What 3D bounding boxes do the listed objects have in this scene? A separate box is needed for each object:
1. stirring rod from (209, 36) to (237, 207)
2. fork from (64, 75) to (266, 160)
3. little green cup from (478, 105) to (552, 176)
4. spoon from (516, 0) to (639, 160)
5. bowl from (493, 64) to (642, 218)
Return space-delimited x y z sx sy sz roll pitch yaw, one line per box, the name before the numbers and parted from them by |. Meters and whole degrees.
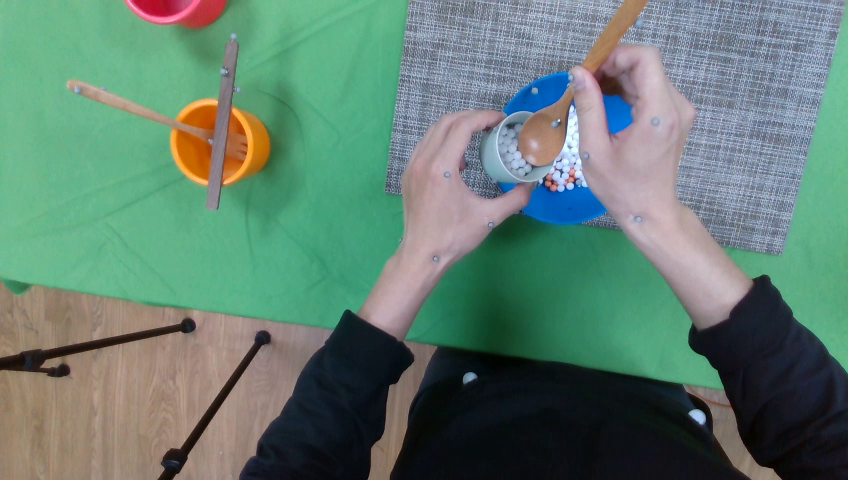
stirring rod | -0.210 -0.122 0.632 0.014 0.006 0.176 10 101 5
fork | -0.263 -0.127 0.639 0.209 0.018 0.028 18 108 -42
little green cup | 0.078 -0.084 0.530 0.062 0.038 0.061 1 87 -24
spoon | 0.111 -0.116 0.447 0.021 0.194 0.041 -39 80 -21
bowl | 0.143 -0.102 0.636 0.151 0.076 0.152 1 101 6
